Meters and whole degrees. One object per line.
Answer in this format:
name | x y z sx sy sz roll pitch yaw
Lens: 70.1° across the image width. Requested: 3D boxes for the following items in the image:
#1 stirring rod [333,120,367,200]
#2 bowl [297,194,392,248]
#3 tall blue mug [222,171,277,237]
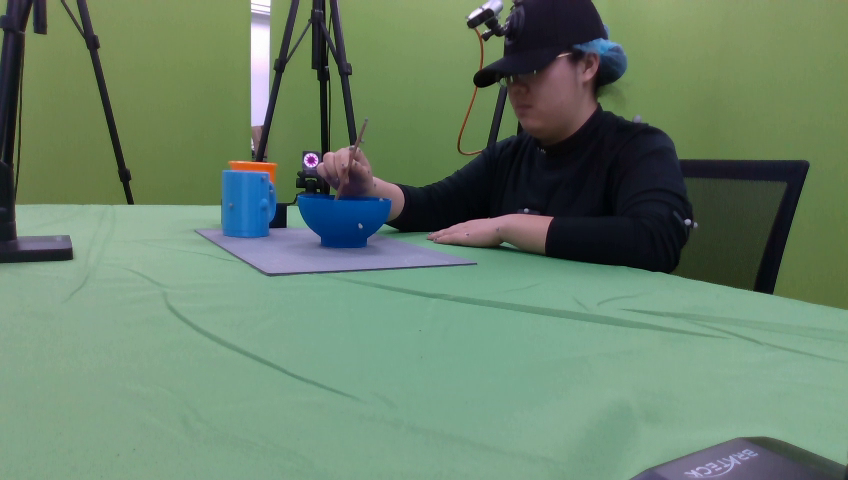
stirring rod | -0.122 -0.107 0.942 0.006 0.176 0.014 22 -8 -19
bowl | -0.127 -0.030 0.964 0.151 0.077 0.151 2 7 0
tall blue mug | -0.303 -0.064 1.043 0.078 0.108 0.107 1 7 -4
